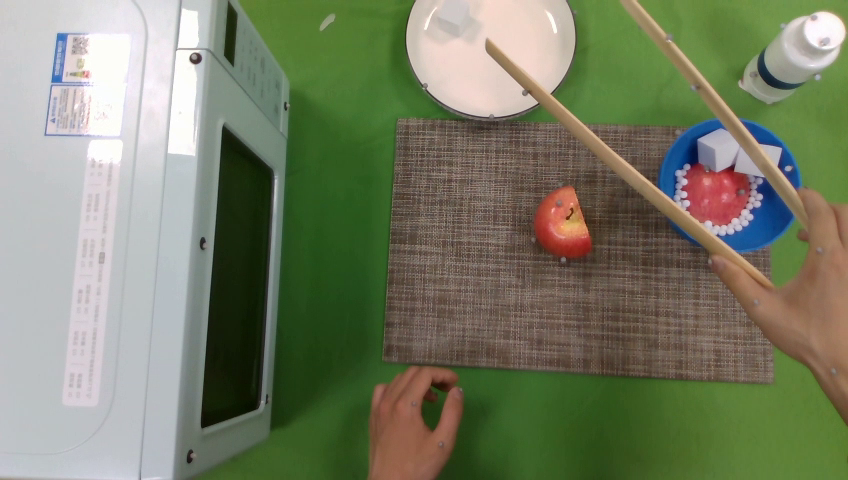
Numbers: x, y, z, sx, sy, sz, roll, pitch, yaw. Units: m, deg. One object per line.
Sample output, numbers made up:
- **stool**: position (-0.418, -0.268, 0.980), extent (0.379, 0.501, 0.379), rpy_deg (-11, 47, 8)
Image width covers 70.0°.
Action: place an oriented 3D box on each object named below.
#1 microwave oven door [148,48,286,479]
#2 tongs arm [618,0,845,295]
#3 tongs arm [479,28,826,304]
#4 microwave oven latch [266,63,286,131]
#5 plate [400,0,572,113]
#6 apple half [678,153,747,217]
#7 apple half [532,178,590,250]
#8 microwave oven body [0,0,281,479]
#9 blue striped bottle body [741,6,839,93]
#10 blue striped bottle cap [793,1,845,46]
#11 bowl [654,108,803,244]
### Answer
- **microwave oven door**: position (-0.194, 0.029, 0.602), extent (0.039, 0.244, 0.354), rpy_deg (0, 82, 4)
- **tongs arm**: position (0.244, -0.121, 0.549), extent (0.051, 0.027, 0.382), rpy_deg (-31, 70, -1)
- **tongs arm**: position (0.183, -0.078, 0.548), extent (0.028, 0.028, 0.384), rpy_deg (-40, 70, -8)
- **microwave oven latch**: position (-0.182, -0.173, 0.730), extent (0.030, 0.029, 0.079), rpy_deg (0, 83, 2)
- **plate**: position (0.075, -0.253, 0.748), extent (0.207, 0.039, 0.207), rpy_deg (0, 83, 2)
- **apple half**: position (0.329, -0.064, 0.681), extent (0.081, 0.033, 0.081), rpy_deg (0, 81, 3)
- **apple half**: position (0.151, -0.024, 0.692), extent (0.053, 0.075, 0.080), rpy_deg (-17, 85, 4)
- **microwave oven body**: position (-0.339, -0.013, 0.619), extent (0.326, 0.261, 0.440), rpy_deg (1, 83, 2)
- **blue striped bottle body**: position (0.416, -0.218, 0.684), extent (0.063, 0.121, 0.063), rpy_deg (0, 81, 3)
- **blue striped bottle cap**: position (0.413, -0.226, 0.634), extent (0.044, 0.020, 0.044), rpy_deg (0, 85, 3)
- **bowl**: position (0.329, -0.064, 0.686), extent (0.151, 0.077, 0.151), rpy_deg (0, 82, 3)
